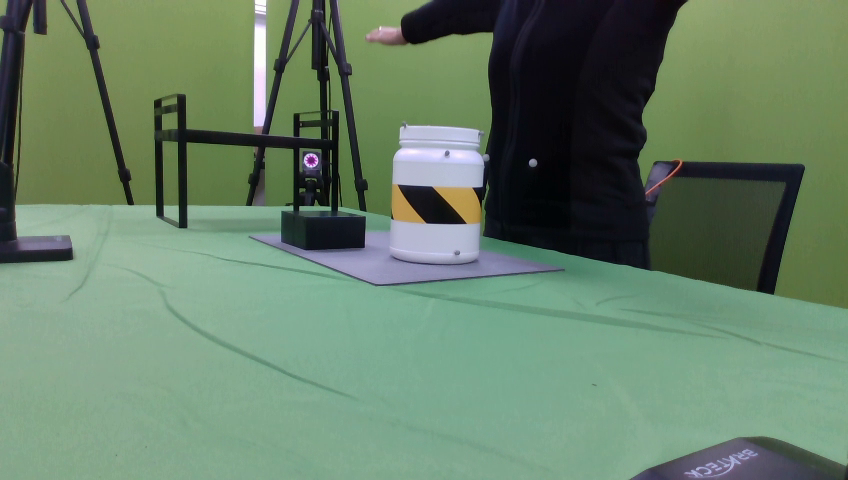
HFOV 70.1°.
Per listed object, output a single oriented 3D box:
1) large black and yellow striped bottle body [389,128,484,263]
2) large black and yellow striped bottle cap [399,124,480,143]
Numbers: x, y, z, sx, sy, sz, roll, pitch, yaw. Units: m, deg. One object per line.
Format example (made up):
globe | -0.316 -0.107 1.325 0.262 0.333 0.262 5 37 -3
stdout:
large black and yellow striped bottle body | 0.018 -0.067 0.859 0.131 0.184 0.130 2 7 0
large black and yellow striped bottle cap | 0.022 -0.149 0.850 0.115 0.019 0.115 3 8 0
